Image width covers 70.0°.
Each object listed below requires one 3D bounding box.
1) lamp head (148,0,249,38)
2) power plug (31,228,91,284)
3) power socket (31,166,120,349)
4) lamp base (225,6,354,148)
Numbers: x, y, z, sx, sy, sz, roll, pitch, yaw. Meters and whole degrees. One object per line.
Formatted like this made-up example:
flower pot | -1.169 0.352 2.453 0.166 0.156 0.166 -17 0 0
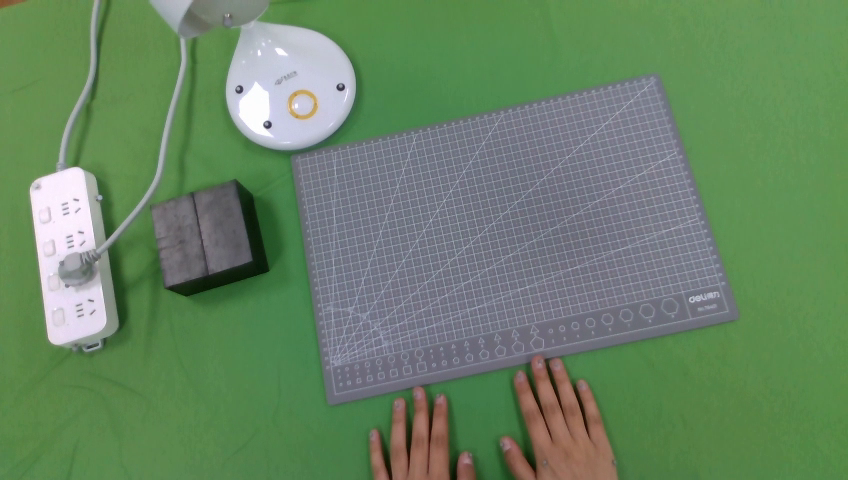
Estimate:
lamp head | -0.155 -0.210 0.383 0.112 0.112 0.123 -43 99 -7
power plug | -0.405 0.017 0.688 0.035 0.053 0.072 -29 68 -18
power socket | -0.410 0.015 0.711 0.072 0.033 0.225 -17 74 -1
lamp base | -0.181 -0.217 0.676 0.160 0.181 0.178 -40 73 -6
